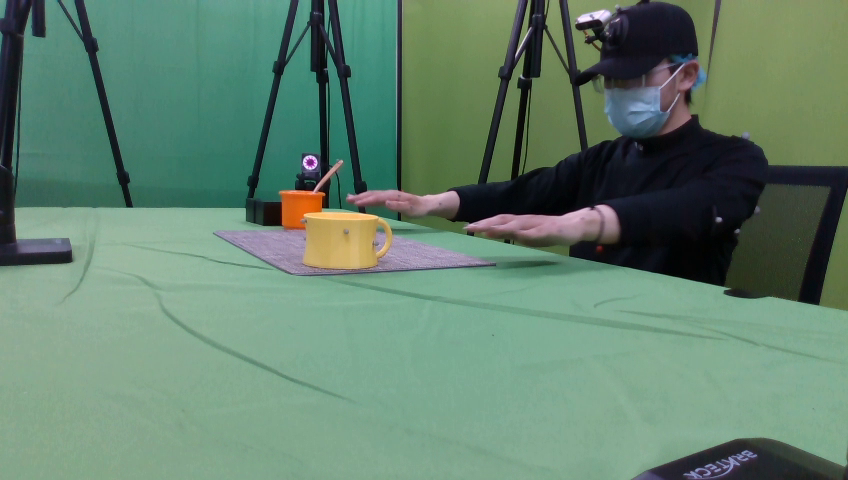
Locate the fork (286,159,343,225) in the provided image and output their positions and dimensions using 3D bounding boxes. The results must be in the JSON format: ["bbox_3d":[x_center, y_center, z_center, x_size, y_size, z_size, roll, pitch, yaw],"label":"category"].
[{"bbox_3d":[-0.222,-0.102,1.253,0.028,0.019,0.207,8,52,30],"label":"fork"}]

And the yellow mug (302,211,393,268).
[{"bbox_3d":[-0.098,-0.003,0.810,0.131,0.064,0.099,-2,8,-37],"label":"yellow mug"}]
